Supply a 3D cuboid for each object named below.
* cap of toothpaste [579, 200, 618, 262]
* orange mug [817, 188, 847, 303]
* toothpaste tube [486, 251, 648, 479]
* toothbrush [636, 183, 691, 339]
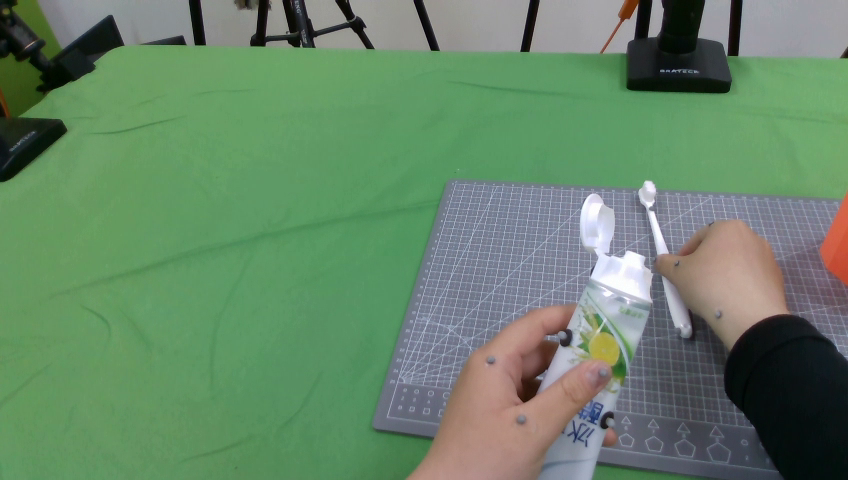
[{"bbox_3d":[0.101,-0.005,0.347,0.011,0.037,0.037,1,38,42],"label":"cap of toothpaste"},{"bbox_3d":[0.362,-0.006,0.465,0.083,0.102,0.126,27,48,32],"label":"orange mug"},{"bbox_3d":[0.084,0.083,0.339,0.055,0.035,0.165,21,94,20],"label":"toothpaste tube"},{"bbox_3d":[0.207,0.011,0.528,0.014,0.017,0.180,9,44,-3],"label":"toothbrush"}]
